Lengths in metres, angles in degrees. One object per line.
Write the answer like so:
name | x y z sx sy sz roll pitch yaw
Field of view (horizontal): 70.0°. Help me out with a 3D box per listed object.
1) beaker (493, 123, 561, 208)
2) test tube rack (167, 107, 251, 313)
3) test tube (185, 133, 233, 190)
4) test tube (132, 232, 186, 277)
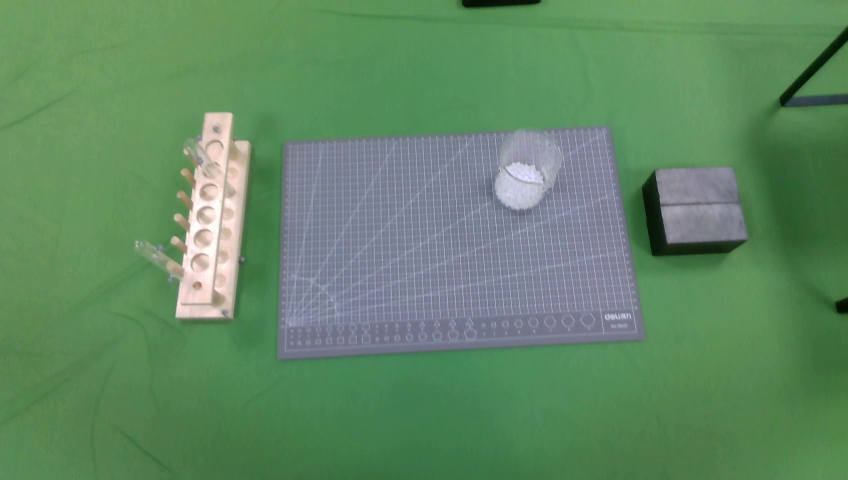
beaker | 0.127 -0.086 0.758 0.074 0.101 0.083 -31 75 -10
test tube rack | -0.269 -0.036 0.748 0.067 0.085 0.240 0 72 0
test tube | -0.250 -0.089 0.715 0.017 0.151 0.017 1 75 -3
test tube | -0.290 0.020 0.682 0.017 0.151 0.017 0 72 0
